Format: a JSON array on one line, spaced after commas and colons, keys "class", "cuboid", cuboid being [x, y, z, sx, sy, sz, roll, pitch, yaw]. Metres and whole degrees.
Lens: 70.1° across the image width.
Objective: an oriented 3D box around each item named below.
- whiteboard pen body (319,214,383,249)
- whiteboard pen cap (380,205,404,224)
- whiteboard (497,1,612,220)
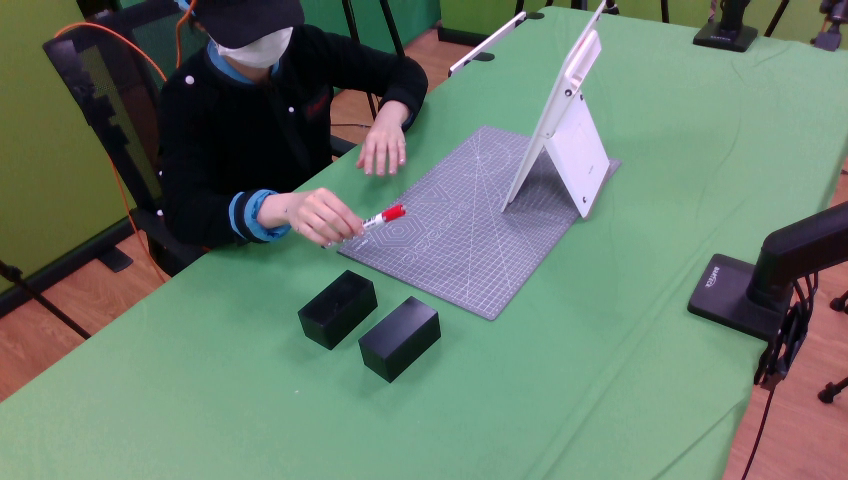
[{"class": "whiteboard pen body", "cuboid": [-0.092, -0.015, 0.851, 0.140, 0.017, 0.017, -22, 33, 27]}, {"class": "whiteboard pen cap", "cuboid": [-0.044, -0.034, 0.825, 0.032, 0.017, 0.017, -21, 33, 28]}, {"class": "whiteboard", "cuboid": [0.260, -0.178, 0.963, 0.143, 0.306, 0.217, 28, 49, 9]}]
